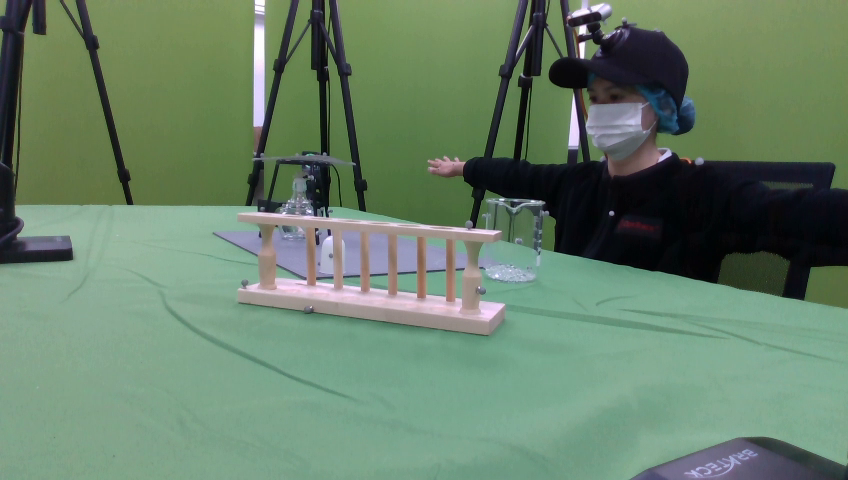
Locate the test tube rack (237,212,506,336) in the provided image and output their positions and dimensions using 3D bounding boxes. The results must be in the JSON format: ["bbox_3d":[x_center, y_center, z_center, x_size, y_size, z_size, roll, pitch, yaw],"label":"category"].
[{"bbox_3d":[-0.049,0.024,0.552,0.242,0.085,0.067,5,8,18],"label":"test tube rack"}]

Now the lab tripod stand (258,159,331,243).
[{"bbox_3d":[-0.202,-0.067,1.010,0.148,0.131,0.148,2,5,0],"label":"lab tripod stand"}]

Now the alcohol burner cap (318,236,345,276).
[{"bbox_3d":[-0.110,0.019,0.723,0.034,0.048,0.034,2,6,0],"label":"alcohol burner cap"}]

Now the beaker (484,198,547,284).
[{"bbox_3d":[0.111,0.000,0.744,0.074,0.100,0.084,3,8,9],"label":"beaker"}]

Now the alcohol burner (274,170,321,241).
[{"bbox_3d":[-0.212,-0.058,1.015,0.078,0.119,0.078,4,5,0],"label":"alcohol burner"}]

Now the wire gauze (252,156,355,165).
[{"bbox_3d":[-0.196,-0.133,0.999,0.121,0.011,0.125,4,5,22],"label":"wire gauze"}]
